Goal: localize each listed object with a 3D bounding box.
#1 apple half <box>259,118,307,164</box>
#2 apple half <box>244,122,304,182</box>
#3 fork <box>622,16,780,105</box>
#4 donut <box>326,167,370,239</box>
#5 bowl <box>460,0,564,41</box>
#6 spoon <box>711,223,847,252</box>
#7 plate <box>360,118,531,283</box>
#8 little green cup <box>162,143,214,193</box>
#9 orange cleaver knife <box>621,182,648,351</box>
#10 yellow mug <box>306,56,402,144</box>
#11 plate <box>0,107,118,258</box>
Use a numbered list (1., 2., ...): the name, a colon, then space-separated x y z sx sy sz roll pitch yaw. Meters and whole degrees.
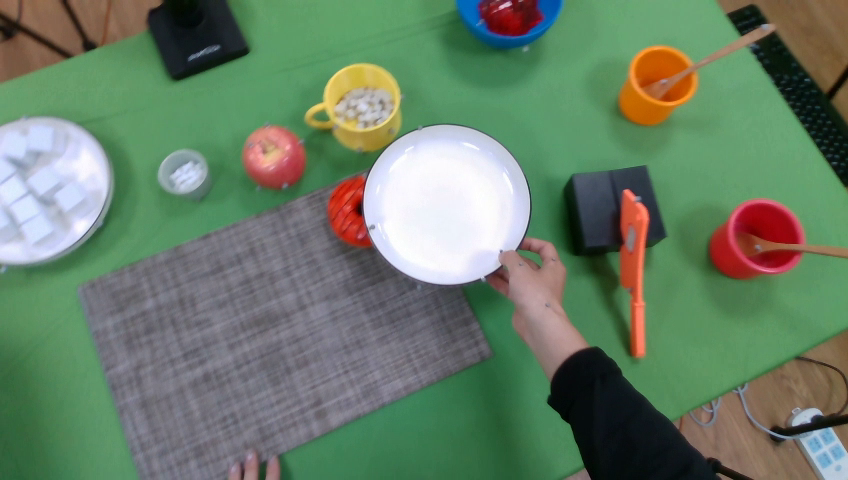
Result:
1. apple half: -0.179 -0.136 0.803 0.081 0.081 0.033 38 81 9
2. apple half: -0.204 -0.107 0.796 0.080 0.075 0.053 39 82 5
3. fork: 0.363 -0.237 0.807 0.207 0.019 0.028 -27 70 37
4. donut: -0.079 -0.048 0.795 0.099 0.048 0.098 0 77 0
5. bowl: 0.121 -0.341 0.865 0.151 0.077 0.150 0 76 -1
6. spoon: 0.458 0.003 0.750 0.192 0.022 0.041 7 63 47
7. plate: 0.026 -0.048 0.747 0.209 0.038 0.208 0 76 0
8. little green cup: -0.311 -0.093 0.807 0.061 0.039 0.061 0 75 -1
9. orange cleaver knife: 0.263 0.035 0.765 0.012 0.076 0.212 -5 107 -1
10. yellow mug: -0.095 -0.186 0.823 0.131 0.064 0.099 -13 75 -4
11. plate: -0.504 -0.074 0.795 0.208 0.039 0.206 0 75 -1
